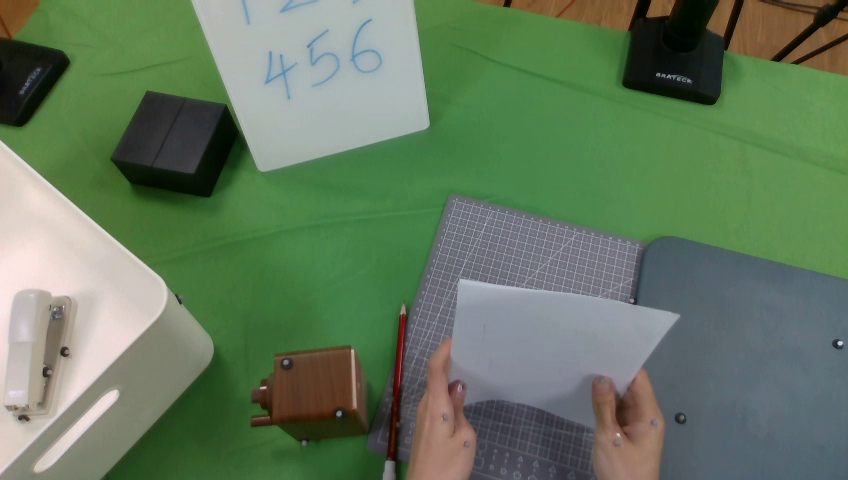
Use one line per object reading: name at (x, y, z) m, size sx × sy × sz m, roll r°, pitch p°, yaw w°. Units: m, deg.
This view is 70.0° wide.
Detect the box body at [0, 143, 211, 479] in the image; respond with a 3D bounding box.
box body at (-0.416, 0.067, 0.562) m, size 0.362 × 0.161 × 0.253 m, roll 34°, pitch 69°, yaw 15°

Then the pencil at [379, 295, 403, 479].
pencil at (-0.031, 0.145, 0.607) m, size 0.012 × 0.012 × 0.192 m, roll 3°, pitch 64°, yaw 2°

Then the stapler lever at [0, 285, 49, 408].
stapler lever at (-0.390, 0.101, 0.588) m, size 0.027 × 0.040 × 0.117 m, roll -5°, pitch 67°, yaw 0°

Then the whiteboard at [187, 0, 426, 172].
whiteboard at (-0.135, -0.264, 0.677) m, size 0.217 × 0.308 × 0.142 m, roll -16°, pitch 45°, yaw -7°

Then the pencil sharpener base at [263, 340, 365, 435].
pencil sharpener base at (-0.098, 0.139, 0.558) m, size 0.077 × 0.108 × 0.061 m, roll -6°, pitch 64°, yaw -2°

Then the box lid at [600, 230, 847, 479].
box lid at (0.320, 0.172, 0.595) m, size 0.263 × 0.015 × 0.369 m, roll 15°, pitch 65°, yaw 6°

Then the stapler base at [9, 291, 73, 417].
stapler base at (-0.390, 0.110, 0.612) m, size 0.041 × 0.024 × 0.129 m, roll -5°, pitch 66°, yaw 0°

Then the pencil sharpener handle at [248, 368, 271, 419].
pencil sharpener handle at (-0.149, 0.142, 0.542) m, size 0.030 × 0.068 × 0.035 m, roll -6°, pitch 48°, yaw -2°
